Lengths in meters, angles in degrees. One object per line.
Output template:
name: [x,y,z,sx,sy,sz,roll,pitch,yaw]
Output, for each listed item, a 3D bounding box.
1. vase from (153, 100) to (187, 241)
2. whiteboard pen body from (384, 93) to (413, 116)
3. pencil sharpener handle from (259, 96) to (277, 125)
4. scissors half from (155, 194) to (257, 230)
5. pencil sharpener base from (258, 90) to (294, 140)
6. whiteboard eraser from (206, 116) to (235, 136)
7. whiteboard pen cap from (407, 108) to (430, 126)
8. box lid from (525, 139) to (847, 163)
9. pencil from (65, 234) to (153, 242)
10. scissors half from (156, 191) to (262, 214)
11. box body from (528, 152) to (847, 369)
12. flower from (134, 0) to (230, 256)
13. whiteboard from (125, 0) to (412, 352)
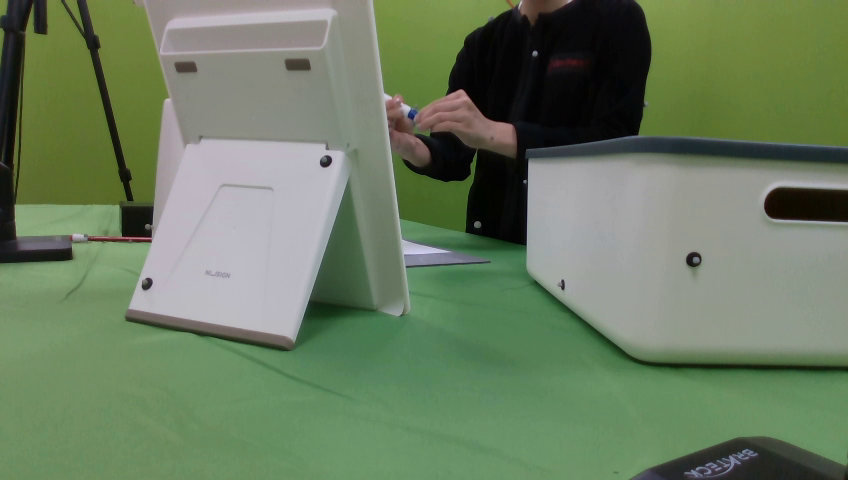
vase: [-0.278,-0.066,0.736,0.098,0.200,0.098,2,9,0]
whiteboard pen body: [-0.059,-0.214,0.918,0.140,0.017,0.017,30,14,11]
pencil sharpener handle: [-0.373,-0.304,1.425,0.036,0.067,0.030,13,-1,-37]
scissors half: [-0.378,-0.052,1.059,0.176,0.040,0.012,20,23,-31]
pencil sharpener base: [-0.341,-0.285,1.388,0.062,0.107,0.076,-3,9,-36]
whiteboard eraser: [-0.449,-0.251,1.335,0.056,0.042,0.112,1,7,-23]
whiteboard pen cap: [-0.008,-0.185,0.907,0.033,0.018,0.018,31,18,19]
box lid: [0.261,-0.078,0.580,0.264,0.015,0.371,2,7,-4]
pencil: [-0.429,-0.001,0.911,0.195,0.012,0.012,1,8,-20]
scissors half: [-0.371,-0.069,1.051,0.176,0.040,0.013,2,26,-24]
box body: [0.258,-0.005,0.591,0.254,0.160,0.363,2,7,-4]
flower: [-0.282,-0.146,0.713,0.038,0.362,0.044,-23,23,-31]
whiteboard: [-0.151,-0.049,0.472,0.216,0.305,0.144,6,27,24]
